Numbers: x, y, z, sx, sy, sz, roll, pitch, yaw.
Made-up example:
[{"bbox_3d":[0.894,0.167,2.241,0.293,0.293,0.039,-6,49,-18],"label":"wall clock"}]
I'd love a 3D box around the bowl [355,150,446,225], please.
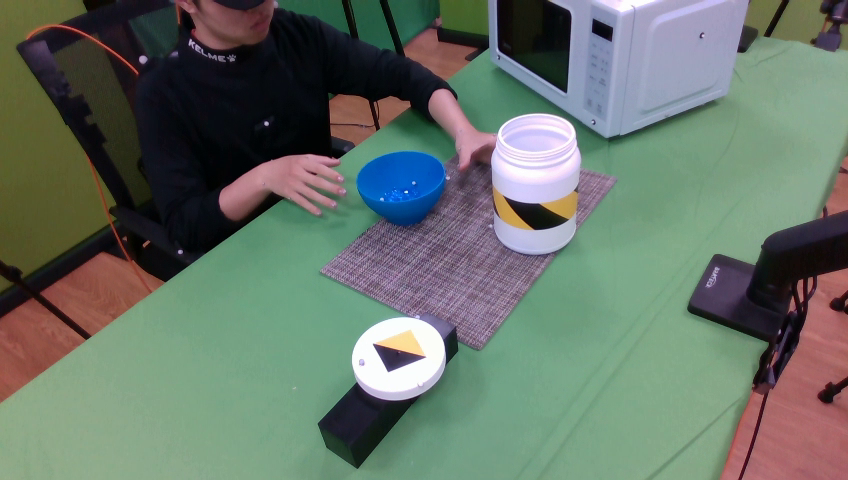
[{"bbox_3d":[-0.035,-0.078,1.017,0.151,0.077,0.150,-4,40,4],"label":"bowl"}]

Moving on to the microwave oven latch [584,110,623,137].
[{"bbox_3d":[0.337,-0.222,1.142,0.030,0.029,0.078,-21,42,-14],"label":"microwave oven latch"}]

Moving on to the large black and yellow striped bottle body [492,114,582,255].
[{"bbox_3d":[0.169,-0.083,0.912,0.131,0.185,0.130,-4,41,4],"label":"large black and yellow striped bottle body"}]

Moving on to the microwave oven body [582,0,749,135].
[{"bbox_3d":[0.382,-0.444,1.246,0.327,0.261,0.437,-22,42,-16],"label":"microwave oven body"}]

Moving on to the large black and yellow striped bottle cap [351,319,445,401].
[{"bbox_3d":[-0.031,0.143,0.734,0.115,0.019,0.114,-3,40,3],"label":"large black and yellow striped bottle cap"}]

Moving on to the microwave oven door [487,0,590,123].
[{"bbox_3d":[0.232,-0.420,1.230,0.039,0.245,0.352,-22,43,-16],"label":"microwave oven door"}]
